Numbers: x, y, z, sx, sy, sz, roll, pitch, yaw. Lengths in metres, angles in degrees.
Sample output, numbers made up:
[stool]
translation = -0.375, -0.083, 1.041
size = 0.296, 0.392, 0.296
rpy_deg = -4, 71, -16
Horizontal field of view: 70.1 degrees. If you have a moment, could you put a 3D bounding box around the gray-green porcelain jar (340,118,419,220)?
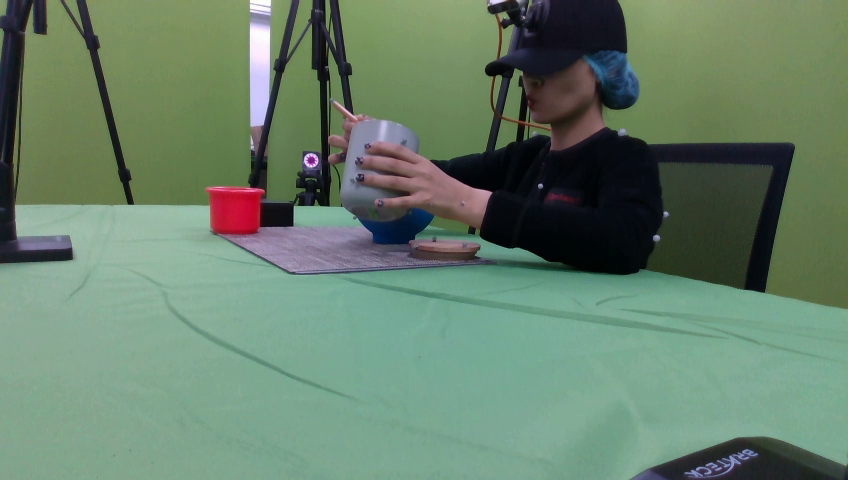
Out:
[gray-green porcelain jar]
translation = -0.066, -0.099, 0.894
size = 0.106, 0.126, 0.106
rpy_deg = 7, -16, 2

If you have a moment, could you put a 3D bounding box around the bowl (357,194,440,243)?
[bowl]
translation = -0.050, -0.038, 1.033
size = 0.151, 0.077, 0.151
rpy_deg = 3, 7, 0

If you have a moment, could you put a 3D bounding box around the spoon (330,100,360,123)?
[spoon]
translation = -0.085, -0.160, 0.929
size = 0.193, 0.021, 0.042
rpy_deg = 50, 17, 24

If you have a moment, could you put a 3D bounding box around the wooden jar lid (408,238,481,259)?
[wooden jar lid]
translation = 0.031, 0.012, 0.895
size = 0.108, 0.020, 0.108
rpy_deg = 2, 8, 0
